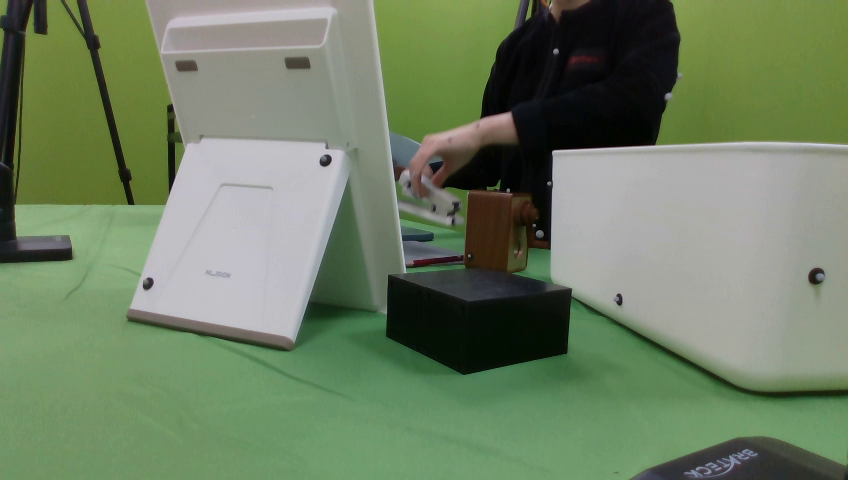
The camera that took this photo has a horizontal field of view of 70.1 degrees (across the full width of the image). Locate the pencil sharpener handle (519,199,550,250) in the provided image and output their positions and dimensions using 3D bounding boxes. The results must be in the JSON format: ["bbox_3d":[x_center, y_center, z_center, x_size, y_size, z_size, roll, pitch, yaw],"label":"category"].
[{"bbox_3d":[0.147,-0.020,0.785,0.030,0.068,0.036,8,26,36],"label":"pencil sharpener handle"}]

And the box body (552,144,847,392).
[{"bbox_3d":[0.290,0.002,0.549,0.255,0.160,0.363,2,7,-10],"label":"box body"}]

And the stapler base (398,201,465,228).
[{"bbox_3d":[0.003,-0.046,0.914,0.130,0.024,0.041,21,23,39],"label":"stapler base"}]

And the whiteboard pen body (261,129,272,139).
[{"bbox_3d":[-0.361,-0.245,1.393,0.017,0.017,0.140,0,5,-20],"label":"whiteboard pen body"}]

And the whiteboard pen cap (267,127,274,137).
[{"bbox_3d":[-0.340,-0.239,1.337,0.018,0.018,0.033,1,-1,-14],"label":"whiteboard pen cap"}]

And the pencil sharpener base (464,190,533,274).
[{"bbox_3d":[0.102,-0.012,0.812,0.076,0.107,0.061,8,9,36],"label":"pencil sharpener base"}]

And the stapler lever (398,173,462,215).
[{"bbox_3d":[0.007,-0.070,0.906,0.117,0.040,0.027,23,24,39],"label":"stapler lever"}]

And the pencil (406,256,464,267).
[{"bbox_3d":[0.041,0.028,0.851,0.195,0.012,0.012,-5,10,-44],"label":"pencil"}]

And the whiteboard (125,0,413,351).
[{"bbox_3d":[-0.151,-0.050,0.471,0.216,0.305,0.144,6,27,24],"label":"whiteboard"}]

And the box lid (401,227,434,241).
[{"bbox_3d":[-0.196,-0.015,1.105,0.373,0.015,0.262,-1,7,-32],"label":"box lid"}]

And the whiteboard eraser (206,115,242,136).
[{"bbox_3d":[-0.438,-0.249,1.320,0.056,0.042,0.112,-3,9,-30],"label":"whiteboard eraser"}]
